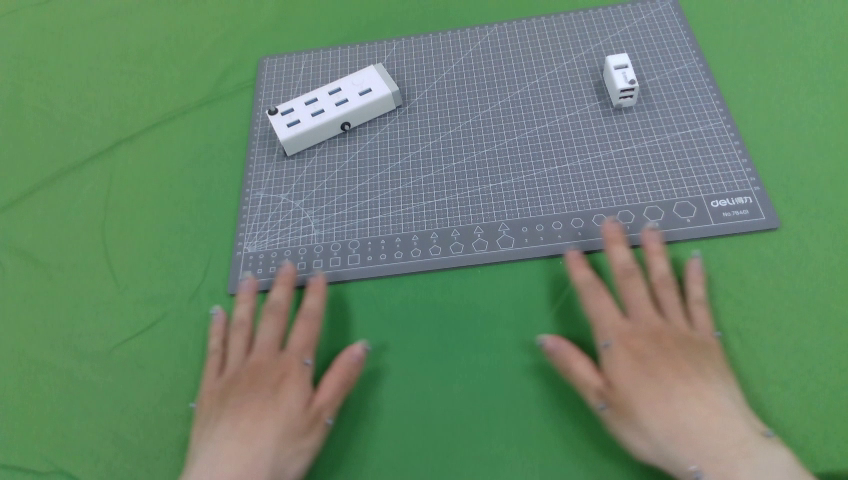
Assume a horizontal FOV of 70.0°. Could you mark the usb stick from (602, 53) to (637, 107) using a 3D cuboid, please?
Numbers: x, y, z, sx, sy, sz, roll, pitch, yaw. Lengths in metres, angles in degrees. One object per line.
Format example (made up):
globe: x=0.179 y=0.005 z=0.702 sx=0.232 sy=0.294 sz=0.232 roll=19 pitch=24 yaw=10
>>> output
usb stick: x=0.181 y=-0.155 z=0.567 sx=0.021 sy=0.027 sz=0.058 roll=-8 pitch=54 yaw=6

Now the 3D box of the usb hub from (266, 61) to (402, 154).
usb hub: x=-0.088 y=-0.131 z=0.594 sx=0.125 sy=0.025 sz=0.049 roll=-25 pitch=57 yaw=-9
